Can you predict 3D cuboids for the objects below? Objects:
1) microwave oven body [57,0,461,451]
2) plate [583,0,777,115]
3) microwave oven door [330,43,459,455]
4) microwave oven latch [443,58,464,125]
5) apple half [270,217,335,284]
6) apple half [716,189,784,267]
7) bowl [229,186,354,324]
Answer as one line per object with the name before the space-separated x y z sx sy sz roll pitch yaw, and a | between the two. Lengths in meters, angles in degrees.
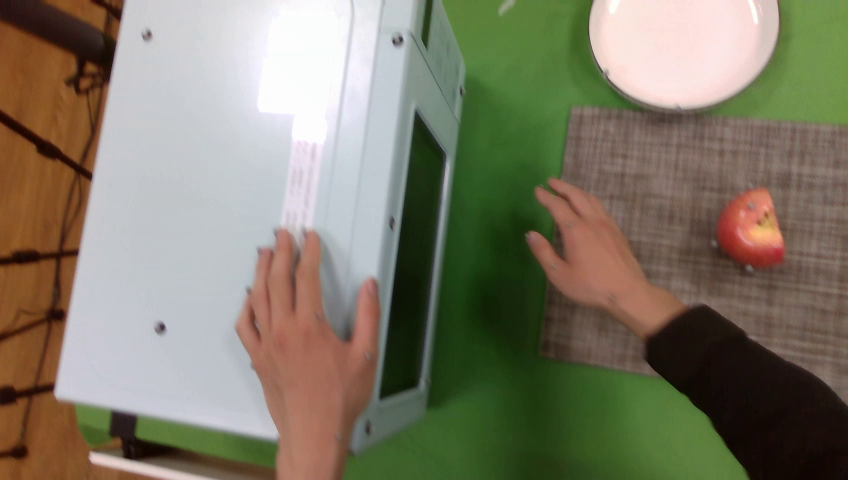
microwave oven body | -0.155 -0.035 0.666 0.325 0.261 0.440 5 84 14
plate | 0.292 -0.243 0.708 0.207 0.039 0.207 -2 82 13
microwave oven door | -0.021 0.018 0.621 0.039 0.245 0.355 5 83 15
microwave oven latch | 0.032 -0.182 0.742 0.030 0.029 0.079 6 84 14
apple half | -0.141 0.015 0.684 0.081 0.033 0.081 1 97 11
apple half | 0.339 -0.009 0.641 0.053 0.075 0.080 -14 82 17
bowl | -0.138 0.017 0.694 0.151 0.077 0.151 0 90 20
